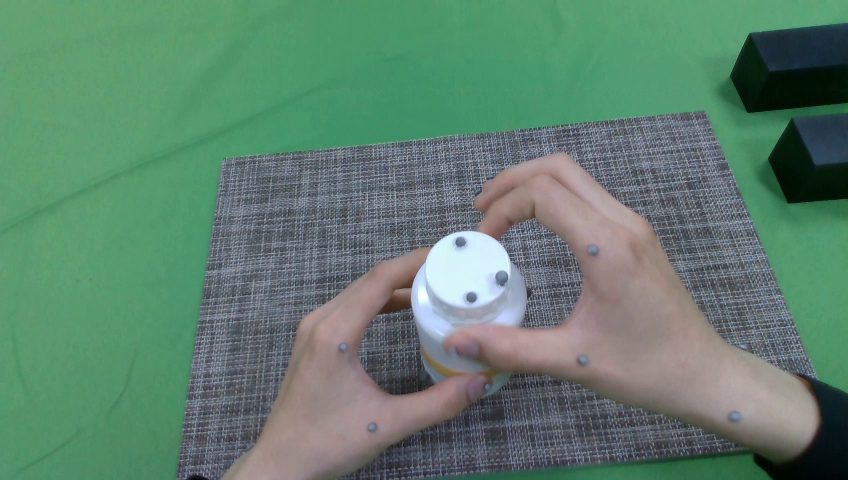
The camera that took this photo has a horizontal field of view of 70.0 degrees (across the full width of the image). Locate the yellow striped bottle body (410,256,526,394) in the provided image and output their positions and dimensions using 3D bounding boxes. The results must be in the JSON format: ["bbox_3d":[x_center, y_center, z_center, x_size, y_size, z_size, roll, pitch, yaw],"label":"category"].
[{"bbox_3d":[0.024,0.043,0.353,0.063,0.121,0.062,-1,61,1],"label":"yellow striped bottle body"}]

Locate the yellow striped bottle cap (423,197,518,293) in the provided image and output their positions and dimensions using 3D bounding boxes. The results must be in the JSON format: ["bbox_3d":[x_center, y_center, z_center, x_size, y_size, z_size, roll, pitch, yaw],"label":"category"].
[{"bbox_3d":[0.022,0.003,0.286,0.044,0.019,0.044,-5,54,7],"label":"yellow striped bottle cap"}]
